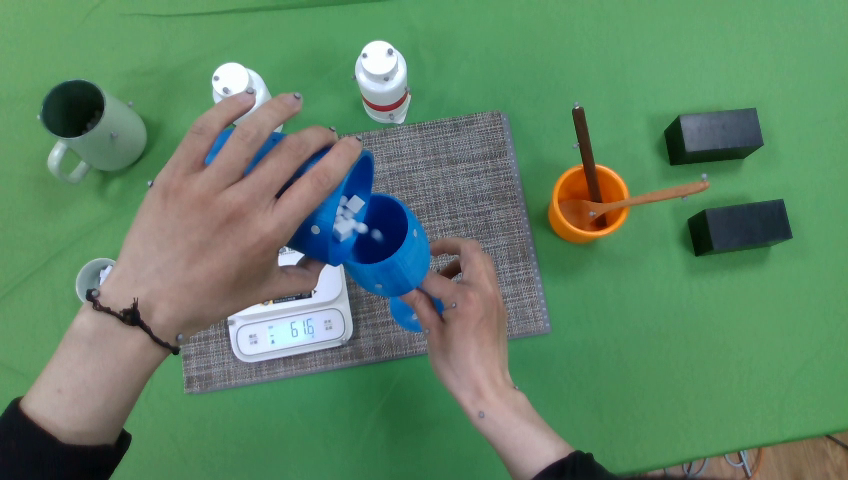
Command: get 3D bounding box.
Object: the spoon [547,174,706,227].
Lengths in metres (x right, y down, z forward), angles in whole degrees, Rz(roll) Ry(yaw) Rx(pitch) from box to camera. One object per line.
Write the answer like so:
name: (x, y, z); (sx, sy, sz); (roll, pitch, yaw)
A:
spoon: (0.233, -0.049, 0.717); (0.022, 0.193, 0.041); (-6, 86, -45)

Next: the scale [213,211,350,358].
scale: (-0.178, 0.037, 0.755); (0.149, 0.031, 0.200); (-10, 80, -2)

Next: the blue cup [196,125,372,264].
blue cup: (-0.099, -0.038, 0.426); (0.100, 0.093, 0.092); (17, 79, 6)

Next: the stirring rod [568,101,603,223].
stirring rod: (0.194, -0.088, 0.723); (0.014, 0.178, 0.006); (1, 44, 30)

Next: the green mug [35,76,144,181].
green mug: (-0.422, -0.131, 0.754); (0.092, 0.105, 0.125); (25, 80, 5)

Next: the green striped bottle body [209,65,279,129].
green striped bottle body: (-0.225, -0.173, 0.755); (0.063, 0.119, 0.063); (0, 78, 0)

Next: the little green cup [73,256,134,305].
little green cup: (-0.394, 0.052, 0.752); (0.061, 0.039, 0.061); (0, 79, -1)

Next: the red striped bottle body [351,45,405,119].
red striped bottle body: (-0.057, -0.203, 0.761); (0.063, 0.120, 0.063); (0, 79, 0)

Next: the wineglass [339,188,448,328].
wineglass: (-0.025, 0.023, 0.529); (0.073, 0.174, 0.073); (-5, 66, 11)

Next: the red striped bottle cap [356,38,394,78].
red striped bottle cap: (-0.057, -0.214, 0.709); (0.044, 0.018, 0.044); (0, 76, 1)

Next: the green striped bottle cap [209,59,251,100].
green striped bottle cap: (-0.225, -0.186, 0.700); (0.044, 0.020, 0.044); (0, 79, 2)
